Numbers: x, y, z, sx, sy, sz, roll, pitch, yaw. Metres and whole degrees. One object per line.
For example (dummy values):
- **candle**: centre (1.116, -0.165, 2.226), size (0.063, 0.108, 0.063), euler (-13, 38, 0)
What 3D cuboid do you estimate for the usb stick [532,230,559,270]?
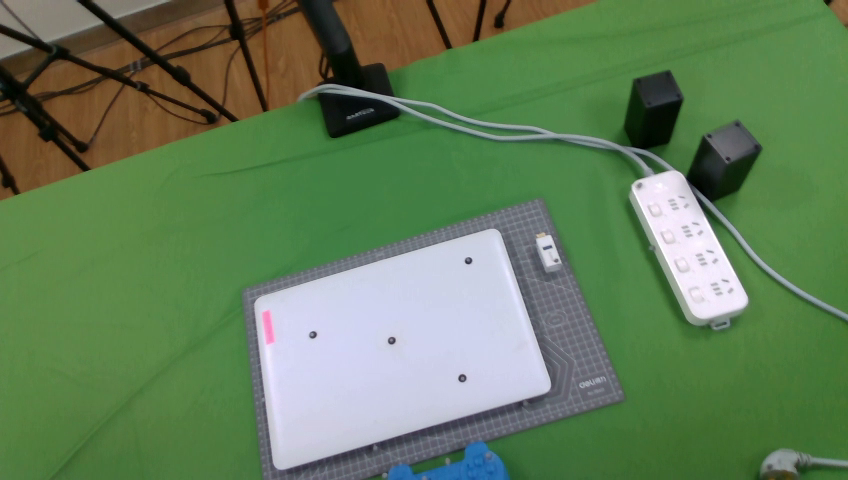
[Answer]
- **usb stick**: centre (0.160, 0.009, 0.809), size (0.021, 0.027, 0.058), euler (-19, 60, 3)

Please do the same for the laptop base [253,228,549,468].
- **laptop base**: centre (-0.042, 0.132, 0.791), size (0.354, 0.023, 0.233), euler (-17, 66, 1)

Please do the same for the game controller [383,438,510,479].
- **game controller**: centre (0.024, 0.288, 0.688), size (0.155, 0.052, 0.096), euler (-17, 58, 1)

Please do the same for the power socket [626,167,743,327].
- **power socket**: centre (0.331, 0.002, 0.781), size (0.072, 0.033, 0.224), euler (-17, 62, 3)

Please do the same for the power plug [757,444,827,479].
- **power plug**: centre (0.396, 0.244, 0.646), size (0.072, 0.035, 0.052), euler (-6, 44, 20)

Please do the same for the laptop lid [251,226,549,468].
- **laptop lid**: centre (-0.043, 0.129, 0.779), size (0.357, 0.013, 0.239), euler (-15, 65, 2)
